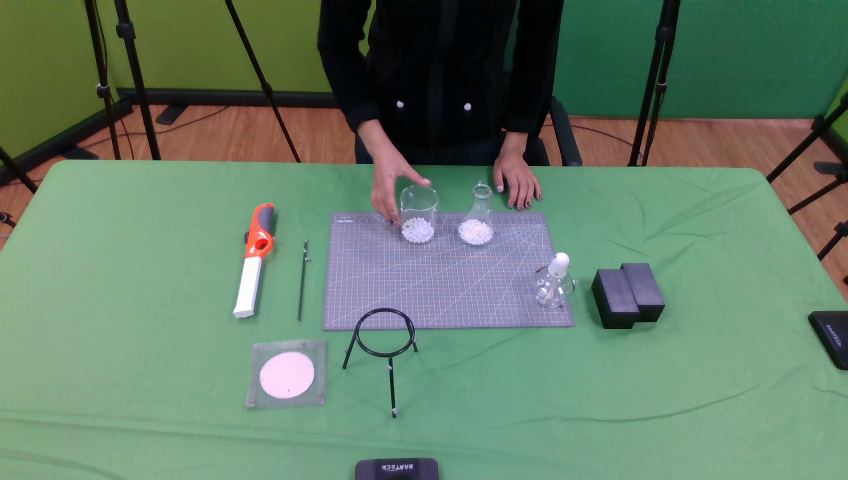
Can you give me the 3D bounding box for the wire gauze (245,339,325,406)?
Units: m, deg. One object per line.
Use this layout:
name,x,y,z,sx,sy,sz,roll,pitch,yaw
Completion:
wire gauze,-0.224,0.215,0.984,0.125,0.011,0.120,-2,46,-5

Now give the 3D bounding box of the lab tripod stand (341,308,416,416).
lab tripod stand,-0.061,0.177,0.946,0.148,0.132,0.147,2,44,-2

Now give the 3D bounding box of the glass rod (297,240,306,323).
glass rod,-0.226,0.072,1.121,0.008,0.008,0.198,-2,46,-5

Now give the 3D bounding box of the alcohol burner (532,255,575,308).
alcohol burner,0.235,0.066,1.087,0.078,0.119,0.077,4,45,-3

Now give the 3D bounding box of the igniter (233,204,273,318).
igniter,-0.321,0.029,1.143,0.057,0.025,0.274,-7,46,4

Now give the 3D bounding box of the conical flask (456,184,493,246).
conical flask,0.106,-0.052,1.185,0.075,0.122,0.075,3,46,-2

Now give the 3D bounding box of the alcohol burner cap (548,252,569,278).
alcohol burner cap,0.238,0.042,1.060,0.034,0.048,0.033,1,54,-1

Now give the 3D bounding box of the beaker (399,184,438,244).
beaker,-0.014,-0.046,1.186,0.073,0.101,0.084,36,54,27
